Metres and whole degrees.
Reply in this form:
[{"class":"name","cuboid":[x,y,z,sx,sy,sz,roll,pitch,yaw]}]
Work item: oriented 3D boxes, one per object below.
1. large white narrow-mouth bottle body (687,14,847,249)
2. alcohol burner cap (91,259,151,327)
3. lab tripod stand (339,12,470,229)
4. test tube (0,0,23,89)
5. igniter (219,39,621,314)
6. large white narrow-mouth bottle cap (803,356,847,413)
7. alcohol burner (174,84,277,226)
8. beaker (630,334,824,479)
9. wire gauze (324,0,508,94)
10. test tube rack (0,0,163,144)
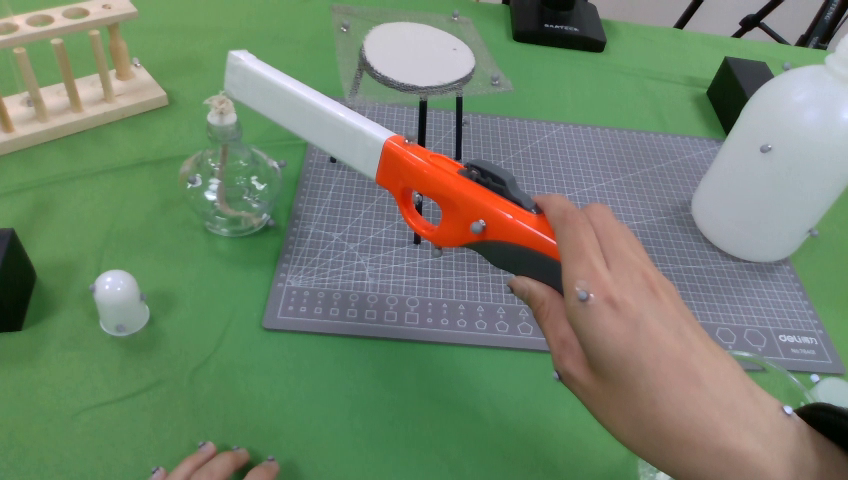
[{"class":"large white narrow-mouth bottle body","cuboid":[0.303,-0.089,0.502,0.102,0.196,0.101,4,47,-4]},{"class":"alcohol burner cap","cuboid":[-0.209,0.034,0.415,0.034,0.048,0.033,6,47,-6]},{"class":"lab tripod stand","cuboid":[-0.014,-0.105,0.506,0.149,0.132,0.147,6,48,-6]},{"class":"test tube","cuboid":[-0.355,-0.193,0.499,0.017,0.151,0.017,5,43,-4]},{"class":"igniter","cuboid":[-0.014,-0.045,0.336,0.274,0.057,0.025,32,35,20]},{"class":"large white narrow-mouth bottle cap","cuboid":[0.303,0.107,0.448,0.038,0.024,0.037,4,47,-4]},{"class":"alcohol burner","cuboid":[-0.154,-0.068,0.468,0.078,0.120,0.077,6,46,-6]},{"class":"beaker","cuboid":[0.171,0.116,0.365,0.084,0.101,0.073,-4,48,-11]},{"class":"wire gauze","cuboid":[-0.010,-0.151,0.457,0.122,0.011,0.123,-5,51,-15]},{"class":"test tube rack","cuboid":[-0.363,-0.141,0.518,0.242,0.086,0.066,-28,58,-30]}]
